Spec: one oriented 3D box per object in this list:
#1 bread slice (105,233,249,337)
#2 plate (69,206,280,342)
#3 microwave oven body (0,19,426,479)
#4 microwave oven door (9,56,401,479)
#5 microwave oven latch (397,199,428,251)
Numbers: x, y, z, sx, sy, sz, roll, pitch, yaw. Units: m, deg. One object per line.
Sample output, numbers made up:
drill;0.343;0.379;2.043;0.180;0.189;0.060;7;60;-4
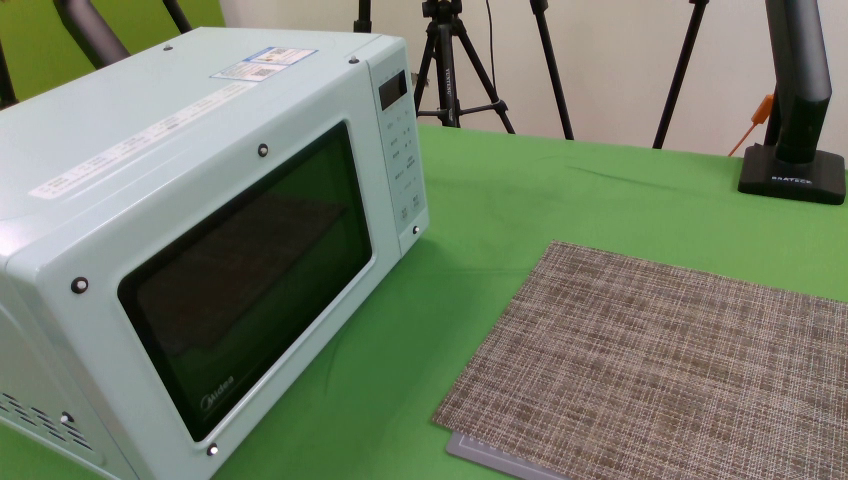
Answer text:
bread slice;-0.253;0.037;0.633;0.104;0.019;0.131;20;47;32
plate;-0.250;0.034;0.628;0.209;0.038;0.207;-6;34;4
microwave oven body;-0.246;-0.029;0.627;0.324;0.262;0.440;12;40;25
microwave oven door;-0.136;0.015;0.532;0.039;0.246;0.354;11;39;26
microwave oven latch;-0.022;-0.021;0.743;0.030;0.030;0.079;13;40;26
